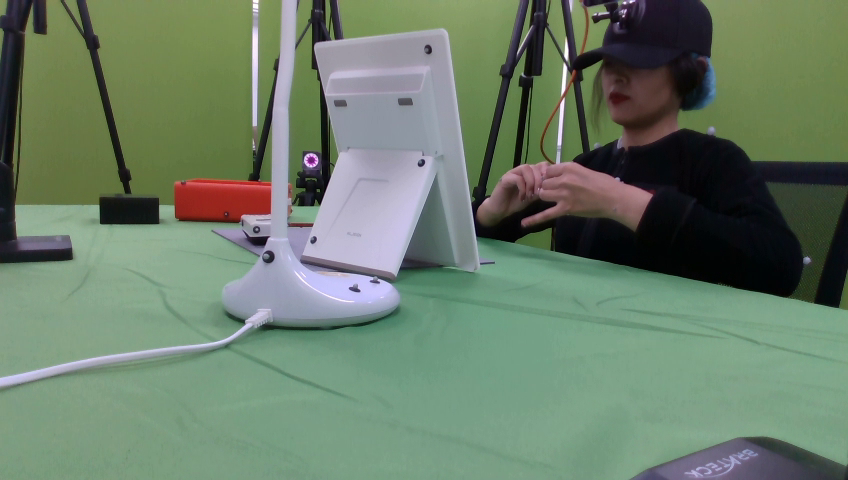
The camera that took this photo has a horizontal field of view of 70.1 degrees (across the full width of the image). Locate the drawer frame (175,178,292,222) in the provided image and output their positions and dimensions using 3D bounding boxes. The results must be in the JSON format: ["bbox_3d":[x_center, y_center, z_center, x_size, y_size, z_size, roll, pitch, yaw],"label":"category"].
[{"bbox_3d":[-0.402,-0.087,1.311,0.214,0.082,0.201,1,8,-9],"label":"drawer frame"}]

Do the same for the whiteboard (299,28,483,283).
[{"bbox_3d":[-0.075,-0.082,0.741,0.216,0.305,0.144,9,30,38],"label":"whiteboard"}]

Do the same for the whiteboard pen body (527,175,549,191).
[{"bbox_3d":[0.204,-0.100,1.051,0.017,0.017,0.140,2,-1,-5],"label":"whiteboard pen body"}]

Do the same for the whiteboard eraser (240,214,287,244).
[{"bbox_3d":[-0.256,-0.018,0.958,0.056,0.042,0.112,0,8,-25],"label":"whiteboard eraser"}]

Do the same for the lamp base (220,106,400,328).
[{"bbox_3d":[-0.101,-0.023,0.531,0.160,0.180,0.179,4,10,10],"label":"lamp base"}]

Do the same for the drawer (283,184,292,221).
[{"bbox_3d":[-0.397,-0.086,1.314,0.212,0.073,0.194,1,8,-9],"label":"drawer"}]

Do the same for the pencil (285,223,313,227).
[{"bbox_3d":[-0.234,-0.030,1.198,0.195,0.012,0.012,0,8,-20],"label":"pencil"}]

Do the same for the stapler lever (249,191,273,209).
[{"bbox_3d":[-0.351,-0.086,1.306,0.027,0.040,0.118,0,5,-3],"label":"stapler lever"}]

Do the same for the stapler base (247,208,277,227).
[{"bbox_3d":[-0.350,-0.054,1.310,0.041,0.024,0.130,0,13,-3],"label":"stapler base"}]

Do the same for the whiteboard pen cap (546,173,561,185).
[{"bbox_3d":[0.210,-0.099,0.990,0.018,0.018,0.033,1,-4,-7],"label":"whiteboard pen cap"}]
